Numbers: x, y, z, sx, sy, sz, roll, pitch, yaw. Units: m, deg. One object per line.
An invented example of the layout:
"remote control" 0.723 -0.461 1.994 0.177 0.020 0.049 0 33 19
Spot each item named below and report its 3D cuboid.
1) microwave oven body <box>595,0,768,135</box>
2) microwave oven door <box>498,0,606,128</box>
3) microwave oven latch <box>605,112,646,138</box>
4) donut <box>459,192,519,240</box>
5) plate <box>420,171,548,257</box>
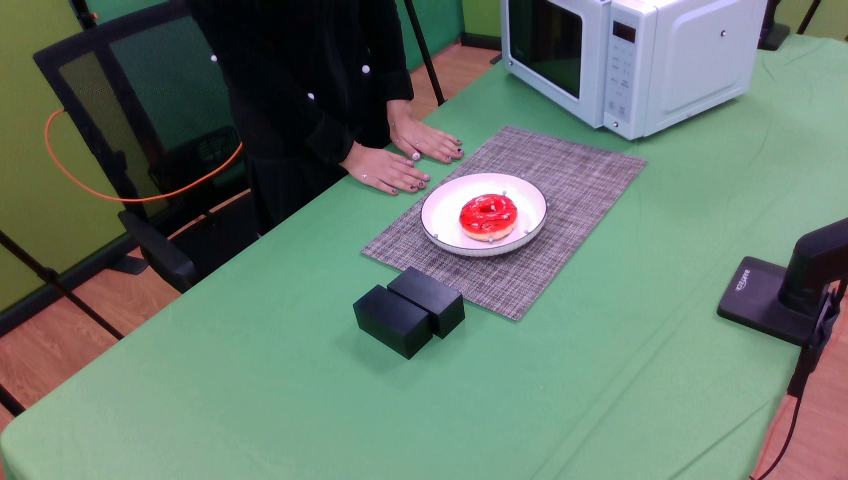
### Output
"microwave oven body" 0.410 -0.441 1.235 0.327 0.261 0.437 -25 42 -16
"microwave oven door" 0.253 -0.406 1.217 0.039 0.245 0.352 -22 42 -14
"microwave oven latch" 0.375 -0.217 1.130 0.030 0.029 0.078 -24 42 -16
"donut" 0.105 -0.040 0.976 0.099 0.048 0.098 -7 40 7
"plate" 0.098 -0.040 0.994 0.209 0.038 0.208 -5 40 5
